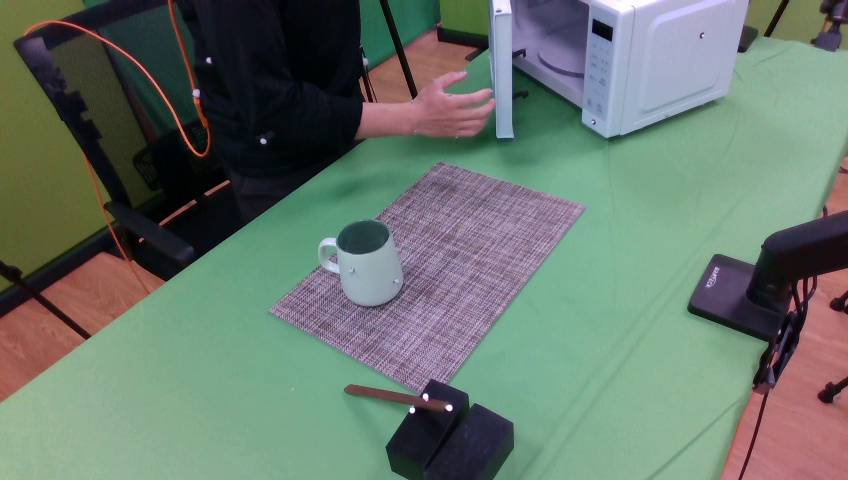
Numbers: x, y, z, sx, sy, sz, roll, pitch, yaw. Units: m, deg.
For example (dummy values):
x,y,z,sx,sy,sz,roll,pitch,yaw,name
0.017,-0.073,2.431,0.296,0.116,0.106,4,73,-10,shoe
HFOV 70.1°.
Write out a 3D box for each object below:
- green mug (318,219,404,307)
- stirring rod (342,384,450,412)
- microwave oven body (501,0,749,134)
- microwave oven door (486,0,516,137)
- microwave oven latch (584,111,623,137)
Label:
x,y,z,sx,sy,sz,roll,pitch,yaw,name
-0.096,0.032,0.876,0.125,0.105,0.092,8,43,17,green mug
-0.038,0.186,0.714,0.175,0.006,0.014,-3,22,43,stirring rod
0.382,-0.445,1.246,0.327,0.261,0.437,-22,42,-16,microwave oven body
0.153,-0.404,1.222,0.039,0.245,0.354,-4,41,6,microwave oven door
0.337,-0.222,1.142,0.030,0.029,0.078,-21,42,-14,microwave oven latch
